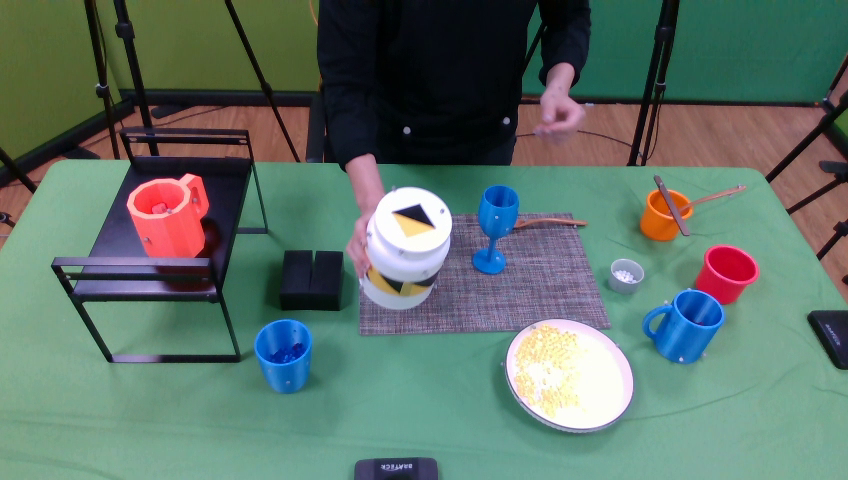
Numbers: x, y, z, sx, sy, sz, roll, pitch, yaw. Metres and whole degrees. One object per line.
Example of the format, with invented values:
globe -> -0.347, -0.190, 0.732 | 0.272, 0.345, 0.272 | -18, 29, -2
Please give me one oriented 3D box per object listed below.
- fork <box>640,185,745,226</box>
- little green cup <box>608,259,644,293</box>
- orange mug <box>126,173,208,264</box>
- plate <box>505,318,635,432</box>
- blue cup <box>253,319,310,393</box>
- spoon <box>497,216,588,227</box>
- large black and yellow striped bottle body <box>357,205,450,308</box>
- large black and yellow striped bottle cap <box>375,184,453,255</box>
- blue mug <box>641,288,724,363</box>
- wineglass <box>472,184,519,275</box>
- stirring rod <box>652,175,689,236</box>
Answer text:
fork -> 0.534, -0.069, 1.215 | 0.207, 0.019, 0.028 | -26, 27, 33
little green cup -> 0.379, 0.070, 1.147 | 0.061, 0.039, 0.061 | 3, 45, -2
orange mug -> -0.371, -0.040, 0.902 | 0.083, 0.101, 0.126 | 18, 52, 13
plate -> 0.235, 0.221, 0.991 | 0.209, 0.038, 0.208 | 2, 46, -2
blue cup -> -0.217, 0.187, 0.943 | 0.093, 0.101, 0.092 | 3, 45, -3
spoon -> 0.245, -0.039, 1.247 | 0.194, 0.022, 0.041 | -1, 25, -6
large black and yellow striped bottle body -> -0.033, 0.013, 0.959 | 0.131, 0.184, 0.130 | 7, 56, -10
large black and yellow striped bottle cap -> -0.014, -0.032, 0.891 | 0.115, 0.019, 0.114 | 6, 58, -10
blue mug -> 0.432, 0.144, 1.033 | 0.116, 0.106, 0.082 | 8, 46, 4
wineglass -> 0.129, -0.018, 1.113 | 0.074, 0.173, 0.073 | 2, 46, -2
stirring rod -> 0.491, -0.072, 1.211 | 0.014, 0.006, 0.175 | -1, 47, -6
